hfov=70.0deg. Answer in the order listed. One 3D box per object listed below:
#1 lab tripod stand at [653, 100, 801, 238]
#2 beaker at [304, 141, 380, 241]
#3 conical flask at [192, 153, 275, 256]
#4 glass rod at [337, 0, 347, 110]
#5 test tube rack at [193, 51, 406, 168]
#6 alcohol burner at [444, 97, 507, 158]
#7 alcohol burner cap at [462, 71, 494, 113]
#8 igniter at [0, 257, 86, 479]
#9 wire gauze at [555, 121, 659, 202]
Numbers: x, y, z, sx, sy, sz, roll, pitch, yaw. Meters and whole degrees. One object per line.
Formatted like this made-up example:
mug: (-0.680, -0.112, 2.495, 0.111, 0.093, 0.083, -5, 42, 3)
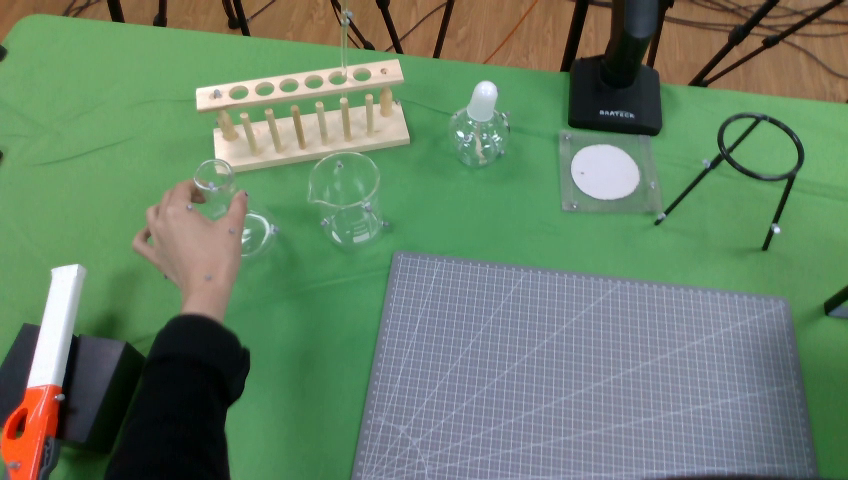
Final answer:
lab tripod stand: (0.350, -0.078, 0.685, 0.148, 0.132, 0.147, 1, 61, -2)
beaker: (-0.089, -0.049, 0.682, 0.084, 0.101, 0.073, -32, 65, -16)
conical flask: (-0.204, -0.041, 0.630, 0.075, 0.123, 0.074, 1, 62, -1)
glass rod: (-0.095, -0.218, 0.706, 0.008, 0.201, 0.008, 3, 60, -4)
test tube rack: (-0.148, -0.161, 0.750, 0.243, 0.086, 0.066, -11, 62, -7)
alcohol burner: (0.064, -0.156, 0.735, 0.078, 0.120, 0.077, 1, 59, -1)
alcohol burner cap: (0.065, -0.175, 0.704, 0.034, 0.048, 0.033, 5, 61, -8)
igniter: (-0.355, 0.142, 0.560, 0.057, 0.025, 0.274, -10, 61, 7)
wire gauze: (0.229, -0.100, 0.766, 0.121, 0.011, 0.124, 3, 61, 0)
